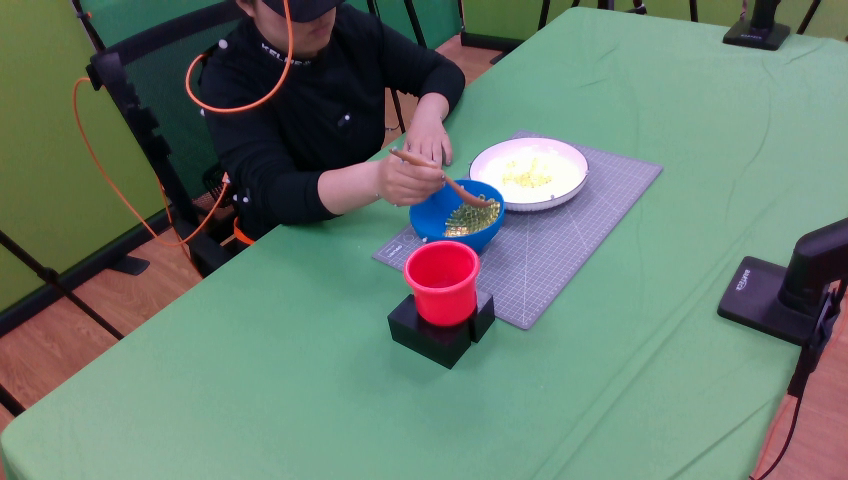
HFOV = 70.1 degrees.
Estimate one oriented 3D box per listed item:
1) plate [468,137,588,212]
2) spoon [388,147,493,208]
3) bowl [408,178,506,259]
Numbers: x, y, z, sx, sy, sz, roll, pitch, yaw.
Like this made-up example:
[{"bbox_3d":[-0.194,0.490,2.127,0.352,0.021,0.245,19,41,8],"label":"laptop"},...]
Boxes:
[{"bbox_3d":[0.182,-0.112,1.064,0.207,0.039,0.206,-5,40,5],"label":"plate"},{"bbox_3d":[0.026,-0.088,0.861,0.041,0.195,0.021,18,80,56],"label":"spoon"},{"bbox_3d":[0.055,-0.023,0.951,0.151,0.077,0.150,-5,40,5],"label":"bowl"}]
